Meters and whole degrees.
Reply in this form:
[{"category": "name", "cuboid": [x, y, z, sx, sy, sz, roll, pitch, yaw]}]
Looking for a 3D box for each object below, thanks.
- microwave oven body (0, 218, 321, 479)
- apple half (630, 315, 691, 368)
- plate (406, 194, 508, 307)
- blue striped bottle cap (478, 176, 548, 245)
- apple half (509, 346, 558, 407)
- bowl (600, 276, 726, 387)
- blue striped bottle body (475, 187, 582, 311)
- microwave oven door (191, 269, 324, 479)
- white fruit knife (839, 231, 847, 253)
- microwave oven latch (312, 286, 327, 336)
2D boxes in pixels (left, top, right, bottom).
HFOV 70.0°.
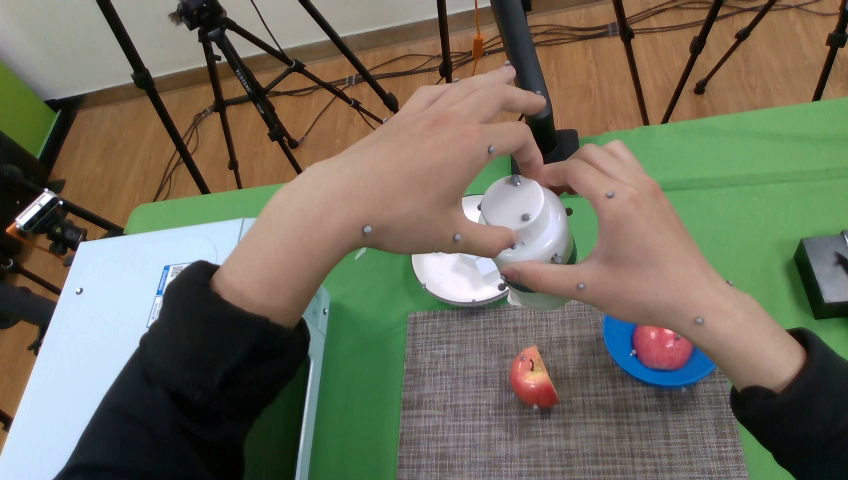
[{"category": "microwave oven body", "cuboid": [-0.348, 0.234, 0.848, 0.325, 0.263, 0.437, -8, 57, 13]}, {"category": "apple half", "cuboid": [0.315, 0.130, 0.804, 0.081, 0.033, 0.080, -9, 55, 13]}, {"category": "plate", "cuboid": [0.075, 0.020, 0.990, 0.207, 0.039, 0.205, -8, 57, 13]}, {"category": "blue striped bottle cap", "cuboid": [0.059, -0.020, 0.404, 0.044, 0.021, 0.044, -9, 60, 16]}, {"category": "apple half", "cuboid": [0.144, 0.193, 0.829, 0.053, 0.075, 0.080, -25, 58, 6]}, {"category": "bowl", "cuboid": [0.314, 0.132, 0.808, 0.151, 0.077, 0.150, -9, 56, 14]}, {"category": "blue striped bottle body", "cuboid": [0.077, 0.003, 0.447, 0.063, 0.122, 0.062, -10, 60, 18]}, {"category": "microwave oven door", "cuboid": [-0.209, 0.247, 0.788, 0.039, 0.246, 0.352, -8, 56, 13]}, {"category": "white fruit knife", "cuboid": [0.560, 0.084, 0.757, 0.016, 0.027, 0.206, -21, 70, 26]}, {"category": "microwave oven latch", "cuboid": [-0.176, 0.117, 0.987, 0.030, 0.030, 0.078, -8, 57, 13]}]
